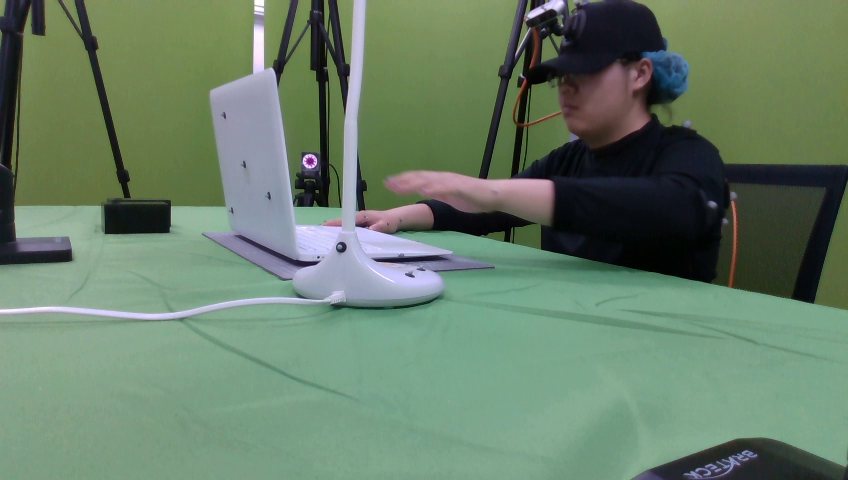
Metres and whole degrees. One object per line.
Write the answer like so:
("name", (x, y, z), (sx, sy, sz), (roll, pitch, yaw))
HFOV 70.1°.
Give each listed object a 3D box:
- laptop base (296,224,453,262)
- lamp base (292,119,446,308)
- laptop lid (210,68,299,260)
("laptop base", (-0.143, 0.003, 0.957), (0.237, 0.023, 0.352), (3, 6, -32))
("lamp base", (-0.056, -0.030, 0.616), (0.160, 0.180, 0.179), (4, 10, 8))
("laptop lid", (-0.254, -0.110, 0.871), (0.013, 0.241, 0.355), (-11, 15, -29))
